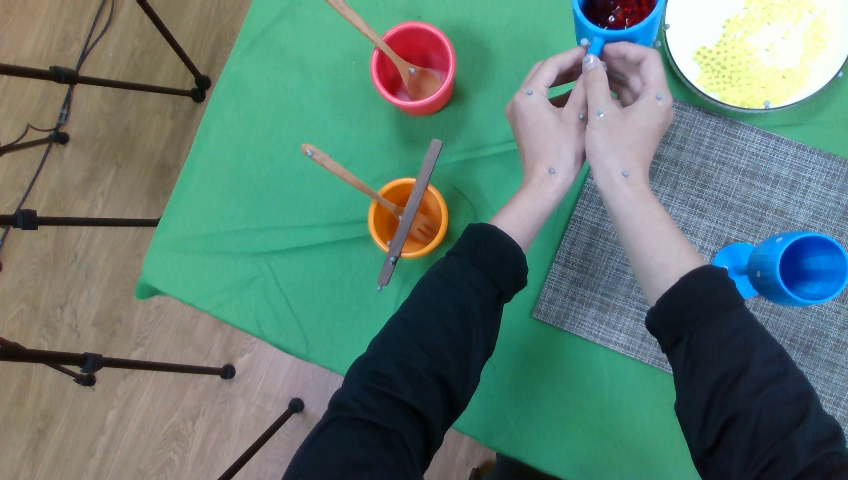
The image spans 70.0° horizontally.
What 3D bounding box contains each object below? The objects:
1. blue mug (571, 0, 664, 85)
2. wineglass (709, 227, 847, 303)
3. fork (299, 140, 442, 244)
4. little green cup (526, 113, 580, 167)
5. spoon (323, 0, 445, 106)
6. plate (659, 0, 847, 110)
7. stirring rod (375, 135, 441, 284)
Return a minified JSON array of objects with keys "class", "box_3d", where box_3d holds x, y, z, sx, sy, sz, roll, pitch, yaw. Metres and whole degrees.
[{"class":"blue mug","box_3d":[0.179,-0.208,0.589,0.082,0.106,0.116,24,97,14]},{"class":"wineglass","box_3d":[0.350,0.026,0.614,0.073,0.172,0.073,0,87,8]},{"class":"fork","box_3d":[-0.056,-0.052,0.684,0.209,0.018,0.028,34,99,-36]},{"class":"little green cup","box_3d":[0.151,-0.116,0.716,0.061,0.039,0.061,0,88,8]},{"class":"spoon","box_3d":[-0.047,-0.221,0.692,0.196,0.021,0.041,36,94,-36]},{"class":"plate","box_3d":[0.374,-0.250,0.694,0.209,0.038,0.209,0,88,7]},{"class":"stirring rod","box_3d":[-0.018,-0.034,0.676,0.014,0.006,0.176,21,90,8]}]
